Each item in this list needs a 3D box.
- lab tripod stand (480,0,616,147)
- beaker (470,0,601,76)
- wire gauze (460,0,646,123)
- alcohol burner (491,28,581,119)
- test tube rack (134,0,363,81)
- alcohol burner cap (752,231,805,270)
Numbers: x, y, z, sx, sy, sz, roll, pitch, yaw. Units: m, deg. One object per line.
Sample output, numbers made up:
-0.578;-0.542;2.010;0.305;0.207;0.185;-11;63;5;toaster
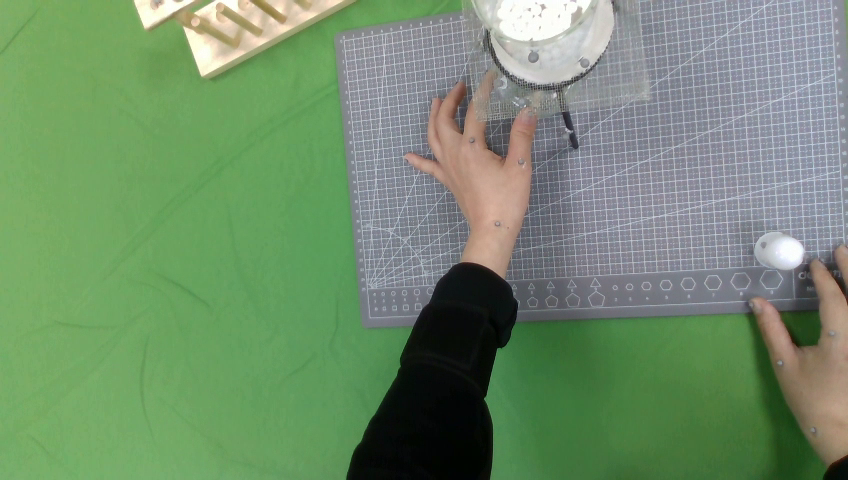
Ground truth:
0.106;-0.153;0.495;0.148;0.131;0.148;1;94;13;lab tripod stand
0.072;-0.148;0.387;0.083;0.100;0.074;9;96;14;beaker
0.090;-0.151;0.432;0.125;0.011;0.121;-5;96;12;wire gauze
0.093;-0.143;0.510;0.078;0.119;0.078;1;93;13;alcohol burner
-0.146;-0.243;0.584;0.242;0.085;0.066;-22;87;15;test tube rack
0.296;0.009;0.504;0.034;0.048;0.034;1;93;14;alcohol burner cap
